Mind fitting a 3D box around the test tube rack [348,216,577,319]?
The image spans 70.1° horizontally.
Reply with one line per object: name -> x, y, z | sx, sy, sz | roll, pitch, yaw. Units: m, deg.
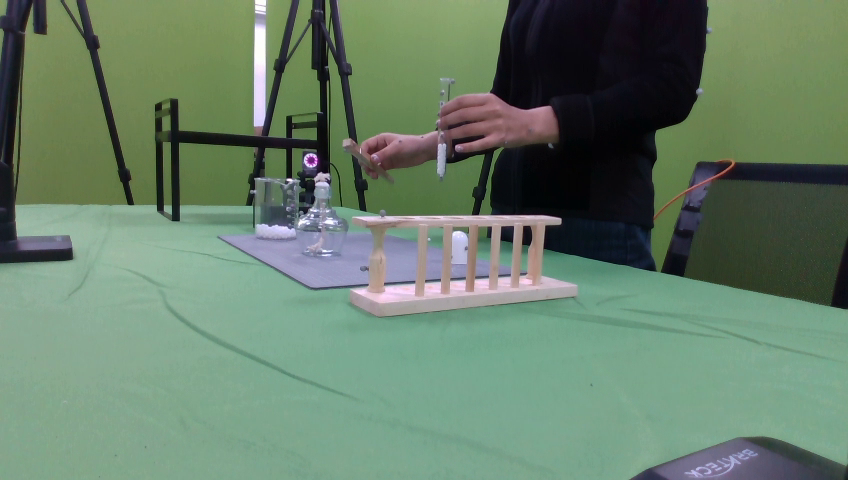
test tube rack -> 0.048, 0.021, 0.619 | 0.244, 0.085, 0.066 | -2, 9, -31

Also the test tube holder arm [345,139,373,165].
test tube holder arm -> -0.115, -0.156, 1.084 | 0.010, 0.015, 0.088 | 3, -15, 24

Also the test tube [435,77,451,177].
test tube -> 0.029, -0.170, 0.920 | 0.017, 0.150, 0.017 | 3, 19, -1

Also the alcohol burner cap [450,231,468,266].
alcohol burner cap -> 0.046, 0.012, 0.839 | 0.034, 0.048, 0.034 | 3, 6, 0

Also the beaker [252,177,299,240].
beaker -> -0.245, -0.052, 1.005 | 0.074, 0.100, 0.083 | -3, 10, -32

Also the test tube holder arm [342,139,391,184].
test tube holder arm -> -0.103, -0.143, 1.126 | 0.013, 0.015, 0.179 | 4, -15, 23

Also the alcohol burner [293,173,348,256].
alcohol burner -> -0.146, -0.036, 0.859 | 0.078, 0.119, 0.078 | 4, 8, 0
